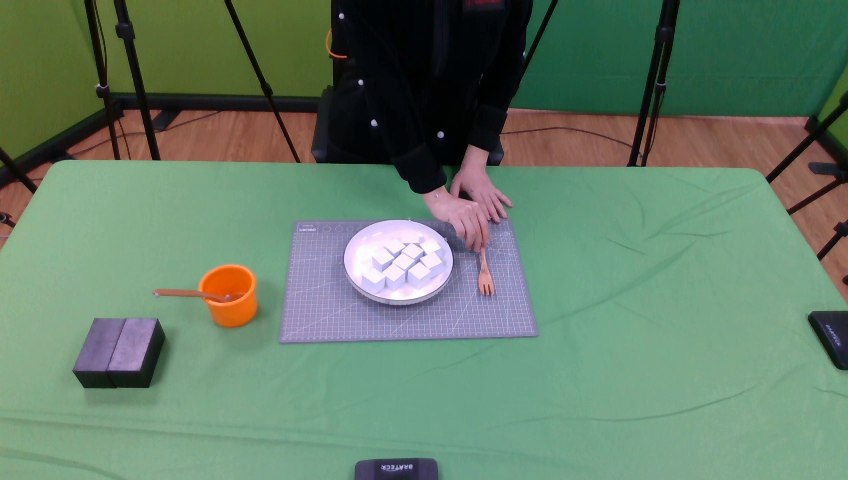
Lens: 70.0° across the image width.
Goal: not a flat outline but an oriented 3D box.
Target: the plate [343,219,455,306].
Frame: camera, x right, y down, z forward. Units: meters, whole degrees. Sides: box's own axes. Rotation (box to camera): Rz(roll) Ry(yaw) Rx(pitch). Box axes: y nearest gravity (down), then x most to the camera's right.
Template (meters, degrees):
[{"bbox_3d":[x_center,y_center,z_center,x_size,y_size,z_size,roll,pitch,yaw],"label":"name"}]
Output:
[{"bbox_3d":[-0.047,0.045,1.136,0.208,0.039,0.206,2,46,-2],"label":"plate"}]

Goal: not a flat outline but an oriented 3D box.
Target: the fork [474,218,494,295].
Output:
[{"bbox_3d":[0.113,0.029,1.177,0.028,0.019,0.206,-1,48,-2],"label":"fork"}]

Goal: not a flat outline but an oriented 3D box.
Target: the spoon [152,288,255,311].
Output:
[{"bbox_3d":[-0.356,0.092,0.992,0.021,0.195,0.041,-47,59,13],"label":"spoon"}]
